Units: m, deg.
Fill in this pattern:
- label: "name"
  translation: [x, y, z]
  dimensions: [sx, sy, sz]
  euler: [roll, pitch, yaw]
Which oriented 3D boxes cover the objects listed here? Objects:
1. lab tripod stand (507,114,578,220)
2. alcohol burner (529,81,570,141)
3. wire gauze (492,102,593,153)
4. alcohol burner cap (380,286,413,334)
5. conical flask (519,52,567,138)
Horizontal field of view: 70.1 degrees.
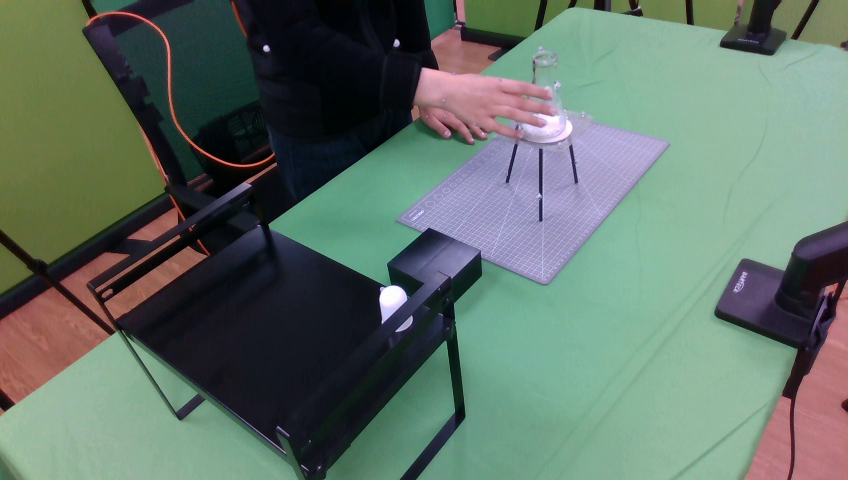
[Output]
- label: "lab tripod stand"
  translation: [0.198, -0.128, 1.005]
  dimensions: [0.148, 0.132, 0.147]
  euler: [-3, 42, 3]
- label: "alcohol burner"
  translation: [0.241, -0.251, 1.159]
  dimensions: [0.078, 0.119, 0.077]
  euler: [-3, 43, 4]
- label: "wire gauze"
  translation: [0.190, -0.179, 0.965]
  dimensions: [0.120, 0.011, 0.125]
  euler: [17, 49, 29]
- label: "alcohol burner cap"
  translation: [-0.029, 0.067, 0.605]
  dimensions: [0.034, 0.048, 0.033]
  euler: [-5, 39, 4]
- label: "conical flask"
  translation: [0.183, -0.223, 0.926]
  dimensions: [0.075, 0.122, 0.075]
  euler: [-4, 41, 4]
